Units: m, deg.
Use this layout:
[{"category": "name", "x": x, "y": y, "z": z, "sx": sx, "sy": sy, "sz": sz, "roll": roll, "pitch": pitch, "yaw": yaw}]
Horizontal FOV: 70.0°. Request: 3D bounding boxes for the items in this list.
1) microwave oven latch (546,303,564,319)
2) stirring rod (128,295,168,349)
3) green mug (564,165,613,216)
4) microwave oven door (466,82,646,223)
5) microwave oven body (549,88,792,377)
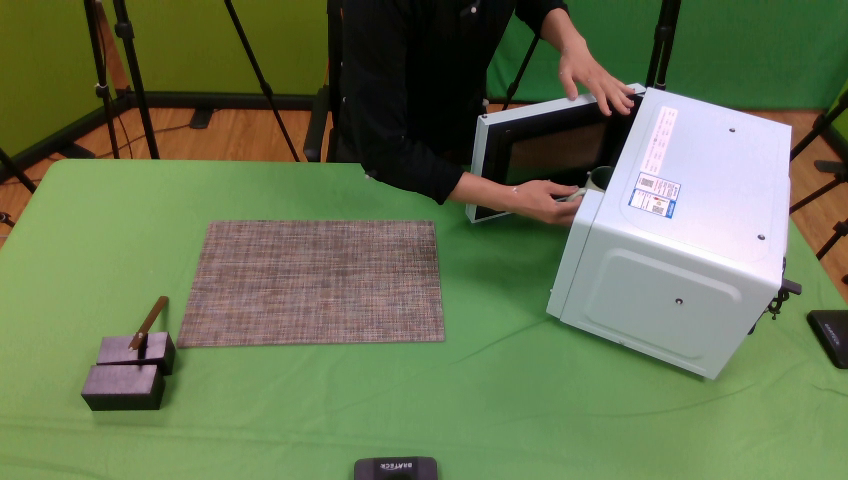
[{"category": "microwave oven latch", "x": 0.242, "y": 0.102, "z": 1.081, "sx": 0.030, "sy": 0.029, "sz": 0.079, "roll": 21, "pitch": 48, "yaw": 17}, {"category": "stirring rod", "x": -0.451, "y": 0.131, "z": 0.996, "sx": 0.014, "sy": 0.006, "sz": 0.175, "roll": 9, "pitch": 21, "yaw": -10}, {"category": "green mug", "x": 0.324, "y": -0.073, "z": 1.140, "sx": 0.125, "sy": 0.105, "sz": 0.092, "roll": -11, "pitch": 47, "yaw": -9}, {"category": "microwave oven door", "x": 0.259, "y": -0.173, "z": 1.205, "sx": 0.356, "sy": 0.245, "sz": 0.039, "roll": -16, "pitch": 48, "yaw": -17}, {"category": "microwave oven body", "x": 0.456, "y": -0.028, "z": 1.088, "sx": 0.325, "sy": 0.261, "sz": 0.440, "roll": 20, "pitch": 47, "yaw": 16}]
